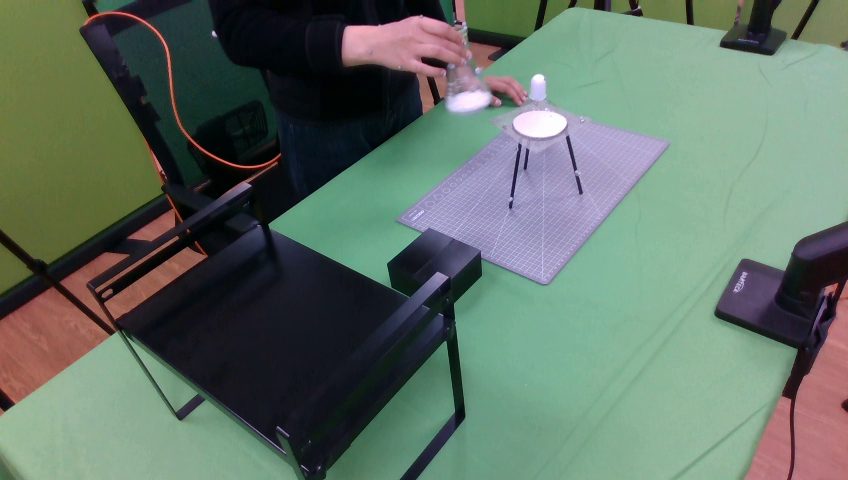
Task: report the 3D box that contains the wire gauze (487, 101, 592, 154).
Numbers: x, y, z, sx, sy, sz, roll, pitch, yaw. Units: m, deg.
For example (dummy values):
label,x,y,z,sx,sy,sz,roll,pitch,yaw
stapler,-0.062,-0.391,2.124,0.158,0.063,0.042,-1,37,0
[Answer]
label,x,y,z,sx,sy,sz,roll,pitch,yaw
wire gauze,0.185,-0.188,0.974,0.122,0.011,0.124,-27,44,-23

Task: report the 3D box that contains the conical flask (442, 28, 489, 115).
label,x,y,z,sx,sy,sz,roll,pitch,yaw
conical flask,0.056,-0.261,0.932,0.075,0.122,0.075,-10,32,7

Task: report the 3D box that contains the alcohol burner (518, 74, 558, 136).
label,x,y,z,sx,sy,sz,roll,pitch,yaw
alcohol burner,0.222,-0.265,1.179,0.078,0.119,0.077,-5,39,5

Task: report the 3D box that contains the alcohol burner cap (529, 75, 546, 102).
label,x,y,z,sx,sy,sz,roll,pitch,yaw
alcohol burner cap,0.218,-0.292,1.156,0.034,0.048,0.033,-3,46,4

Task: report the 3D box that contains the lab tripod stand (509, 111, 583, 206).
label,x,y,z,sx,sy,sz,roll,pitch,yaw
lab tripod stand,0.198,-0.139,1.020,0.148,0.132,0.147,-3,39,3
